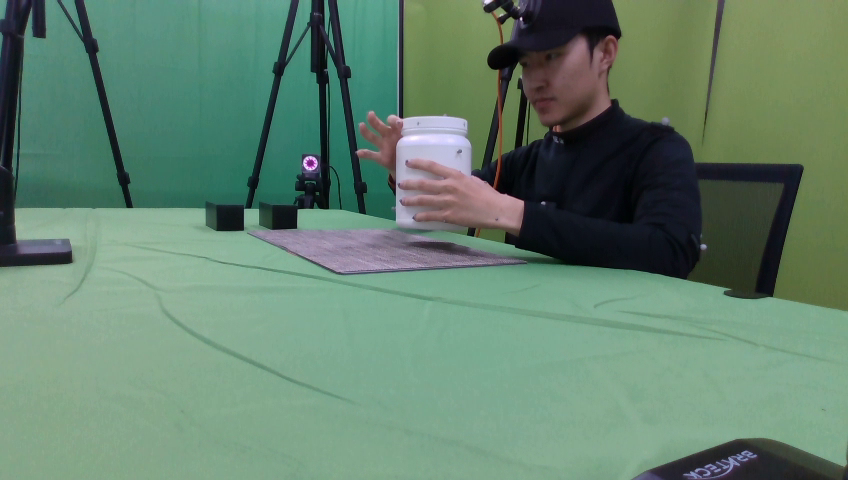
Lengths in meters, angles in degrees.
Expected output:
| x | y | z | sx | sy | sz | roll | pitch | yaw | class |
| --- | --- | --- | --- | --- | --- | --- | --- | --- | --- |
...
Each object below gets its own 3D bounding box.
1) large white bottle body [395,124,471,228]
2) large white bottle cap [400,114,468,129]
| x | y | z | sx | sy | sz | roll | pitch | yaw | class |
| --- | --- | --- | --- | --- | --- | --- | --- | --- | --- |
| 0.016 | -0.114 | 1.034 | 0.131 | 0.184 | 0.130 | 0 | 4 | 0 | large white bottle body |
| 0.017 | -0.197 | 1.028 | 0.115 | 0.018 | 0.115 | -2 | 4 | 0 | large white bottle cap |
